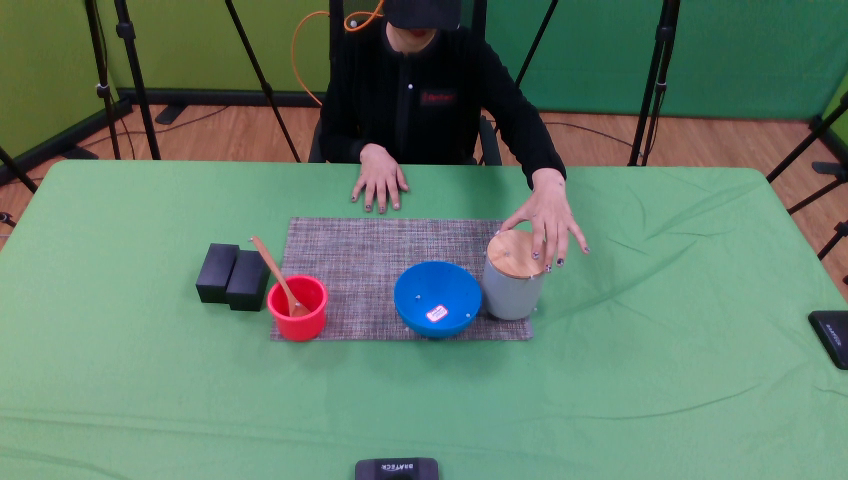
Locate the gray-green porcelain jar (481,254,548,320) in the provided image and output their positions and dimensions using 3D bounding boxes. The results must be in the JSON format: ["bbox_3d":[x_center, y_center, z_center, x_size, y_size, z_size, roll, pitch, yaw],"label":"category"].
[{"bbox_3d":[0.156,0.070,1.064,0.106,0.127,0.105,2,46,-2],"label":"gray-green porcelain jar"}]

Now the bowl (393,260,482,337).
[{"bbox_3d":[0.021,0.115,1.045,0.151,0.077,0.150,2,46,-2],"label":"bowl"}]

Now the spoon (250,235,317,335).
[{"bbox_3d":[-0.237,0.075,1.019,0.041,0.021,0.194,-32,100,-32],"label":"spoon"}]

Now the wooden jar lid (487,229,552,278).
[{"bbox_3d":[0.160,0.026,1.018,0.108,0.021,0.107,2,47,-2],"label":"wooden jar lid"}]
